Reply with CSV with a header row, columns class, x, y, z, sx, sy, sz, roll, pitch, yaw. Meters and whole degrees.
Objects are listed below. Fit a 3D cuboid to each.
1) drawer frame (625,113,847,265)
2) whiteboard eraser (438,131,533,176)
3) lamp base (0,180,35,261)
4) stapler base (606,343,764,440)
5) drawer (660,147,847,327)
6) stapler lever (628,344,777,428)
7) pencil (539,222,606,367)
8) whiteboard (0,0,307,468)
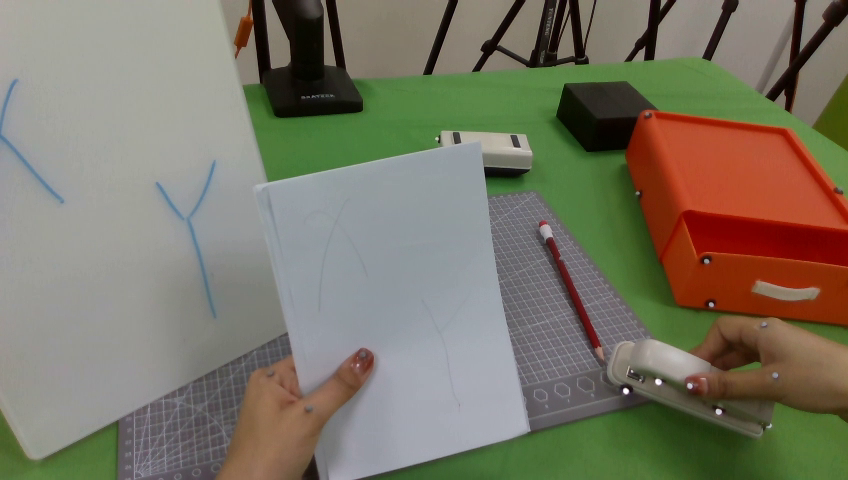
class,x,y,z,sx,sy,sz,roll,pitch,yaw
drawer frame,0.355,-0.053,0.698,0.202,0.083,0.211,6,39,-1
whiteboard eraser,0.075,-0.105,0.746,0.113,0.042,0.055,2,41,-7
lamp base,-0.454,-0.072,0.509,0.178,0.182,0.160,17,41,15
stapler base,0.219,0.121,0.499,0.130,0.024,0.041,20,75,9
drawer,0.351,-0.013,0.651,0.194,0.074,0.210,6,39,0
stapler lever,0.219,0.113,0.474,0.118,0.040,0.026,20,75,9
pencil,0.144,0.046,0.597,0.012,0.012,0.192,-1,42,-10
whiteboard,-0.245,-0.038,0.451,0.217,0.308,0.142,-26,31,-33
